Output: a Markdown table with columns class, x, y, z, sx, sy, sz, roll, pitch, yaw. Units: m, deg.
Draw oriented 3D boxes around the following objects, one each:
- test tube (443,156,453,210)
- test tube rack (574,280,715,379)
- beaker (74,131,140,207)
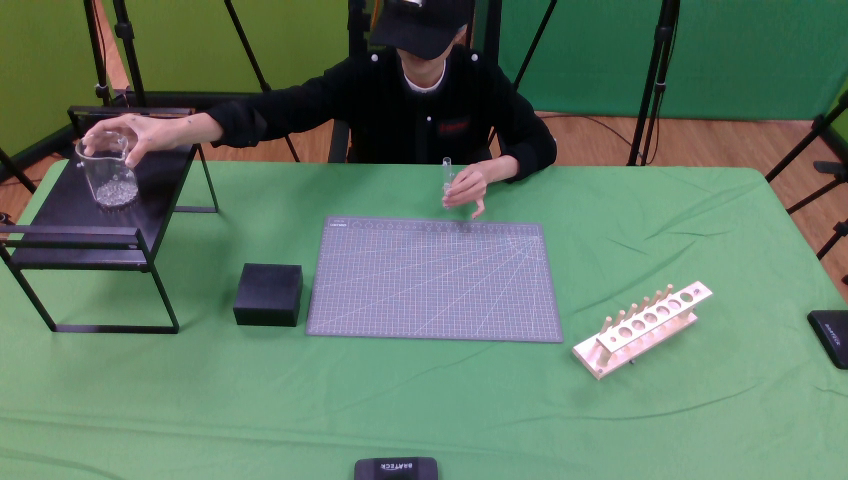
| class | x | y | z | sx | sy | sz | roll | pitch | yaw |
| --- | --- | --- | --- | --- | --- | --- | --- | --- | --- |
| test tube | 0.048 | -0.108 | 1.180 | 0.017 | 0.151 | 0.017 | -2 | 56 | 3 |
| test tube rack | 0.378 | 0.140 | 1.038 | 0.242 | 0.085 | 0.066 | -23 | 51 | -23 |
| beaker | -0.495 | -0.109 | 0.959 | 0.083 | 0.101 | 0.074 | 26 | 46 | 18 |
